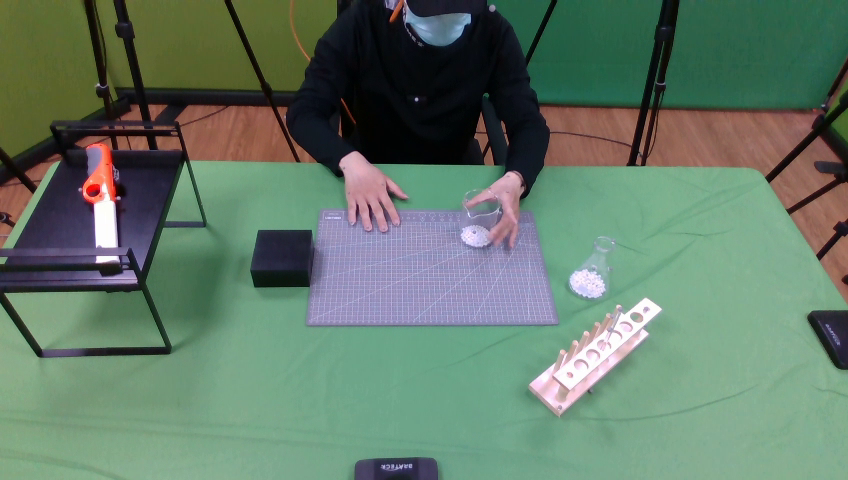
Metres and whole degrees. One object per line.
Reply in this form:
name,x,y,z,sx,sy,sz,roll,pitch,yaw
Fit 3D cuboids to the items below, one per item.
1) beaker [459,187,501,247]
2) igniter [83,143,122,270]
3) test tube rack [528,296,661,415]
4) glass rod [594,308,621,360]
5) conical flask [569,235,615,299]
beaker,0.106,-0.039,1.186,0.074,0.101,0.084,22,50,17
igniter,-0.508,-0.063,0.962,0.057,0.025,0.274,-14,53,-18
test tube rack,0.285,0.178,1.005,0.242,0.085,0.066,-31,55,-29
glass rod,0.278,0.156,0.934,0.008,0.201,0.008,-1,54,1
conical flask,0.314,0.046,1.108,0.075,0.122,0.075,2,46,-2
